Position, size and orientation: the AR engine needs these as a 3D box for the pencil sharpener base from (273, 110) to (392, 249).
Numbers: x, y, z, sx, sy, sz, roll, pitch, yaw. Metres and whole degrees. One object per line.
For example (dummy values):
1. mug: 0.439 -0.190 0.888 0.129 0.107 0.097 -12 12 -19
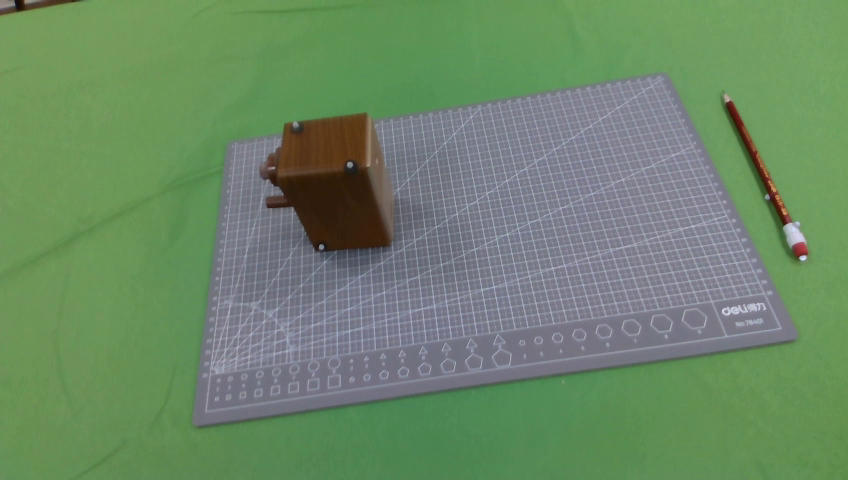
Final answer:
1. pencil sharpener base: -0.072 -0.046 0.500 0.076 0.108 0.061 -6 55 5

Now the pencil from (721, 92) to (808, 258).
1. pencil: 0.291 -0.065 0.527 0.012 0.012 0.192 -6 54 4

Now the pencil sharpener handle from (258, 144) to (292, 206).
1. pencil sharpener handle: -0.124 -0.049 0.494 0.030 0.068 0.035 -6 59 5
